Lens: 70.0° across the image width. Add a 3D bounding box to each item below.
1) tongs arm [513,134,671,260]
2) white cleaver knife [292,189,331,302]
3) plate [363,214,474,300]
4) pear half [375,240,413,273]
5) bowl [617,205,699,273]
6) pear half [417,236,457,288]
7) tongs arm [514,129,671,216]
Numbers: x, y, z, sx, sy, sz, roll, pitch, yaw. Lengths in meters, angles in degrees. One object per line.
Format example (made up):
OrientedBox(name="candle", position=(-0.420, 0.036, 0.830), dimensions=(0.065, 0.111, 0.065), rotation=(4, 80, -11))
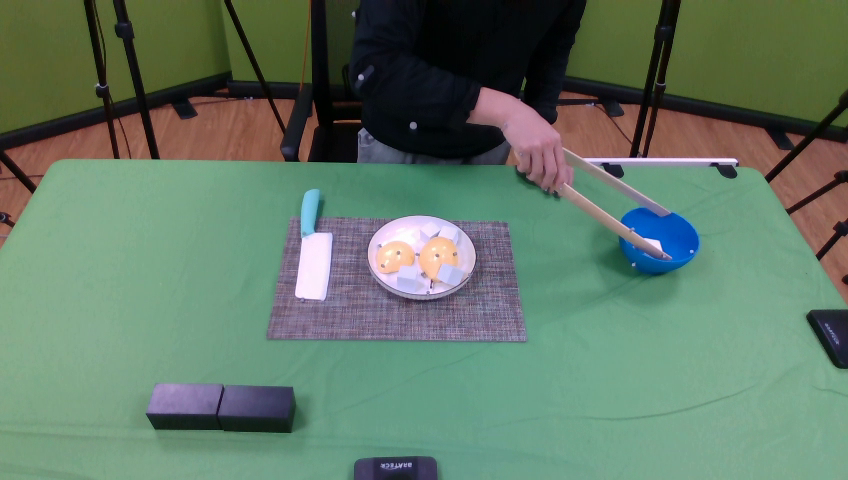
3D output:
OrientedBox(name="tongs arm", position=(0.307, -0.067, 1.079), dimensions=(0.386, 0.026, 0.050), rotation=(29, 59, -24))
OrientedBox(name="white cleaver knife", position=(-0.215, 0.006, 1.178), dimensions=(0.066, 0.021, 0.284), rotation=(5, 49, -12))
OrientedBox(name="plate", position=(-0.010, 0.036, 1.146), dimensions=(0.208, 0.039, 0.206), rotation=(2, 46, -2))
OrientedBox(name="pear half", position=(-0.059, 0.026, 1.145), dimensions=(0.070, 0.031, 0.088), rotation=(22, 43, 21))
OrientedBox(name="bowl", position=(0.445, 0.011, 1.181), dimensions=(0.151, 0.077, 0.150), rotation=(2, 46, -2))
OrientedBox(name="pear half", position=(0.022, 0.039, 1.127), dimensions=(0.076, 0.056, 0.109), rotation=(5, 50, 7))
OrientedBox(name="tongs arm", position=(0.319, -0.117, 1.107), dimensions=(0.389, 0.028, 0.028), rotation=(23, 65, -27))
